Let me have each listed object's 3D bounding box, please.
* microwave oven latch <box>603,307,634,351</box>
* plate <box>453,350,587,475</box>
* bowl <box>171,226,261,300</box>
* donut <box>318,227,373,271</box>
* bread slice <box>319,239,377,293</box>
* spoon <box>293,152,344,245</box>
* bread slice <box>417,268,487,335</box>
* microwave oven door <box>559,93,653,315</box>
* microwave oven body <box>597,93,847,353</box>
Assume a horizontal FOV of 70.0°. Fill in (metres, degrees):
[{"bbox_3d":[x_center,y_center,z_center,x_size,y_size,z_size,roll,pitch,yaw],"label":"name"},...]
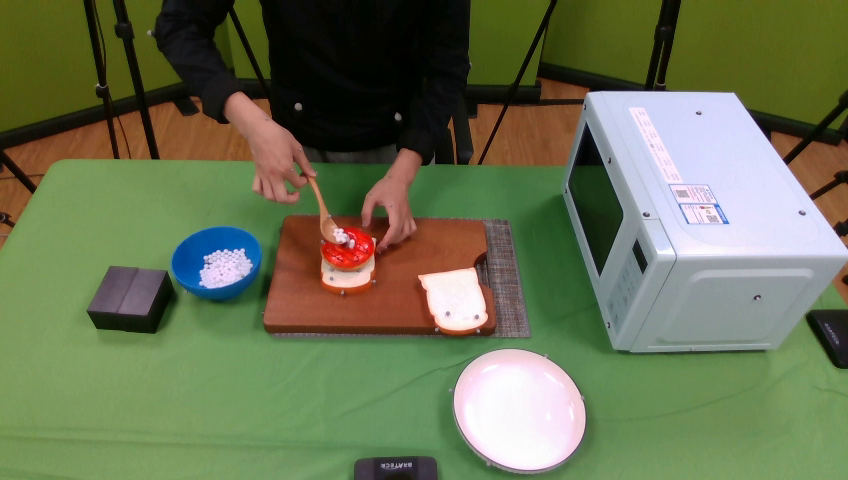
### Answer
[{"bbox_3d":[0.332,0.153,1.044,0.030,0.029,0.078,0,45,-3],"label":"microwave oven latch"},{"bbox_3d":[0.146,0.267,0.943,0.208,0.039,0.206,2,45,-2],"label":"plate"},{"bbox_3d":[-0.363,0.054,1.081,0.151,0.077,0.150,3,45,-3],"label":"bowl"},{"bbox_3d":[-0.141,0.017,1.096,0.099,0.048,0.098,2,44,-2],"label":"donut"},{"bbox_3d":[-0.140,0.044,1.111,0.105,0.019,0.130,0,45,-3],"label":"bread slice"},{"bbox_3d":[-0.189,-0.075,1.065,0.042,0.021,0.193,-12,74,-44],"label":"spoon"},{"bbox_3d":[0.055,0.107,1.063,0.107,0.018,0.133,-9,48,-12],"label":"bread slice"},{"bbox_3d":[0.327,-0.074,1.123,0.039,0.245,0.353,-1,46,-5],"label":"microwave oven door"},{"bbox_3d":[0.475,-0.041,1.109,0.326,0.261,0.438,-1,45,-4],"label":"microwave oven body"}]
